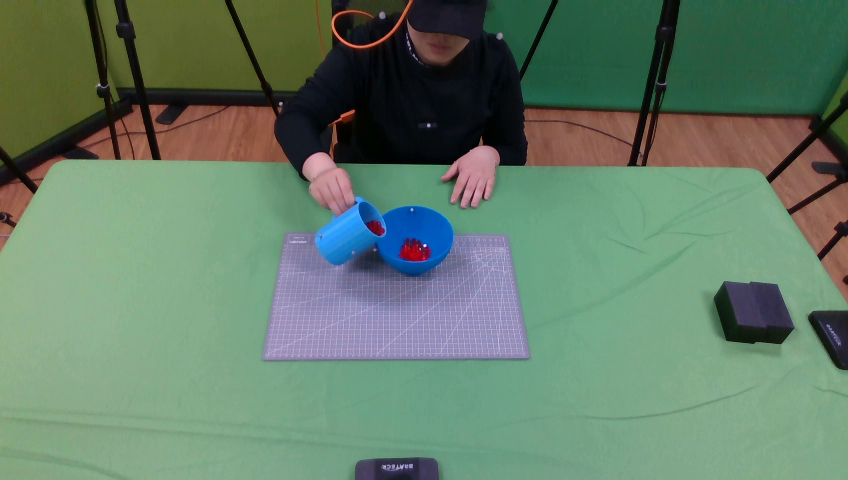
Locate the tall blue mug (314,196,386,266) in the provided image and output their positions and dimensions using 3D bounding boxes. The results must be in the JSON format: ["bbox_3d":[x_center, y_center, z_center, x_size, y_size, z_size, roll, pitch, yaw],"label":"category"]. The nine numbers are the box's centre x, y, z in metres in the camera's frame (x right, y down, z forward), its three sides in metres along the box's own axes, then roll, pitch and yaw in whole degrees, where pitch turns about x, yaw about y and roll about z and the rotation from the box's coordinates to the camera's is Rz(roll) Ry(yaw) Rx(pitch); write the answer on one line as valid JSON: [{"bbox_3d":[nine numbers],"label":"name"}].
[{"bbox_3d":[-0.140,-0.025,1.091,0.078,0.108,0.107,1,61,-61],"label":"tall blue mug"}]

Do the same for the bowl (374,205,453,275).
[{"bbox_3d":[-0.022,0.013,1.143,0.151,0.077,0.150,2,46,-2],"label":"bowl"}]
